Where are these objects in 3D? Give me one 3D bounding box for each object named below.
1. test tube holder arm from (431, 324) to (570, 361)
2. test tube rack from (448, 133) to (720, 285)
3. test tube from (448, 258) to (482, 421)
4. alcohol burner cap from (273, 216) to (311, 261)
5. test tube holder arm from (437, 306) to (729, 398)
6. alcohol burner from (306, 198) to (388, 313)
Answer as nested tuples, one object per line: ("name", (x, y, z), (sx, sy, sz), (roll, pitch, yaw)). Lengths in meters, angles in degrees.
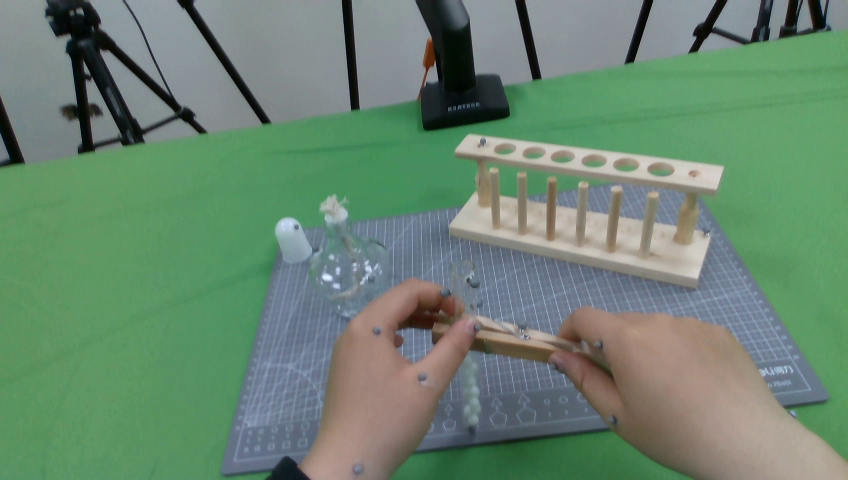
("test tube holder arm", (0.048, 0.065, 0.385), (0.087, 0.015, 0.010), (4, 46, 12))
("test tube rack", (0.139, -0.035, 0.576), (0.241, 0.086, 0.066), (13, 45, 27))
("test tube", (0.029, 0.073, 0.405), (0.017, 0.151, 0.017), (-4, 38, 4))
("alcohol burner cap", (-0.142, -0.004, 0.642), (0.034, 0.048, 0.033), (-6, 40, 5))
("test tube holder arm", (0.092, 0.068, 0.376), (0.177, 0.015, 0.013), (11, 49, 18))
("alcohol burner", (-0.073, 0.010, 0.550), (0.078, 0.120, 0.077), (-5, 40, 5))
